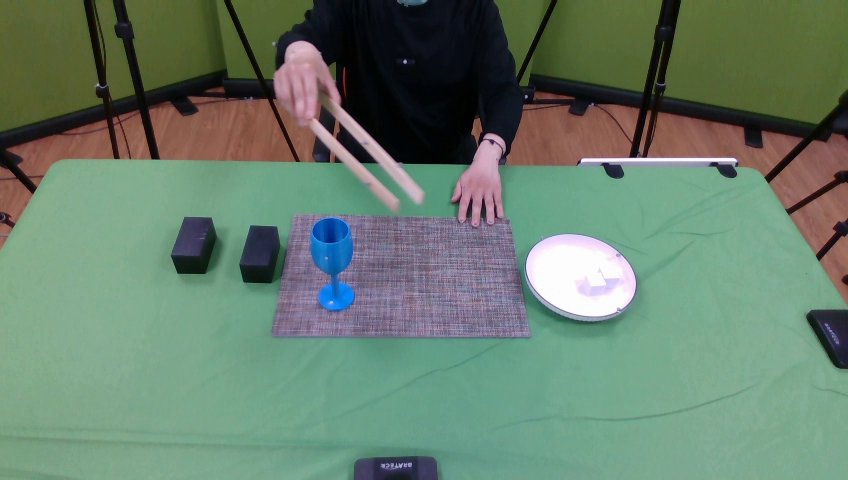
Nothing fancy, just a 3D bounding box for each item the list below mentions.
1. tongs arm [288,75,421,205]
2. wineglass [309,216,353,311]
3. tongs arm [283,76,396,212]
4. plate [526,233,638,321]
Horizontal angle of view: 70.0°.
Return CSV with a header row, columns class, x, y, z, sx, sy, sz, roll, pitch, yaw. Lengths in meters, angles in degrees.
class,x,y,z,sx,sy,sz,roll,pitch,yaw
tongs arm,-0.128,-0.179,1.025,0.051,0.026,0.382,-18,50,-30
wineglass,-0.156,0.043,1.032,0.074,0.173,0.073,2,46,-2
tongs arm,-0.152,-0.170,1.009,0.028,0.028,0.385,-22,52,-28
plate,0.292,0.071,1.135,0.209,0.038,0.208,2,46,-2
